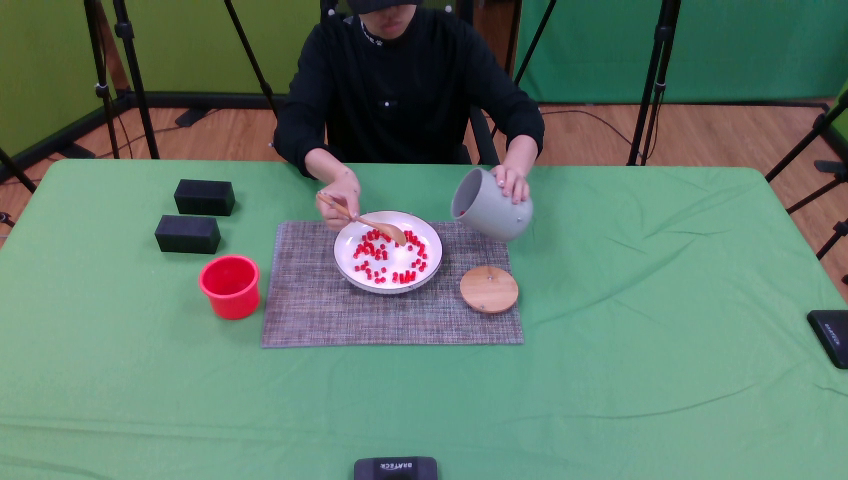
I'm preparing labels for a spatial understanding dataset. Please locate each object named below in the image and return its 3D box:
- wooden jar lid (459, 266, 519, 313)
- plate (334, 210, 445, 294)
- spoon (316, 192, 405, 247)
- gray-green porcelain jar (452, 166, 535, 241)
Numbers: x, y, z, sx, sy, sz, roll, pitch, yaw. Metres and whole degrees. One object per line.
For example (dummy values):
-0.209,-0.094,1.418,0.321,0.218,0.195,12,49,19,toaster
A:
0.118,0.093,1.111,0.108,0.021,0.107,1,47,-1,wooden jar lid
-0.066,0.026,1.150,0.208,0.039,0.206,2,46,-2,plate
-0.113,-0.037,1.103,0.194,0.021,0.041,25,39,-22,spoon
0.132,-0.063,1.120,0.127,0.106,0.105,25,41,-22,gray-green porcelain jar
